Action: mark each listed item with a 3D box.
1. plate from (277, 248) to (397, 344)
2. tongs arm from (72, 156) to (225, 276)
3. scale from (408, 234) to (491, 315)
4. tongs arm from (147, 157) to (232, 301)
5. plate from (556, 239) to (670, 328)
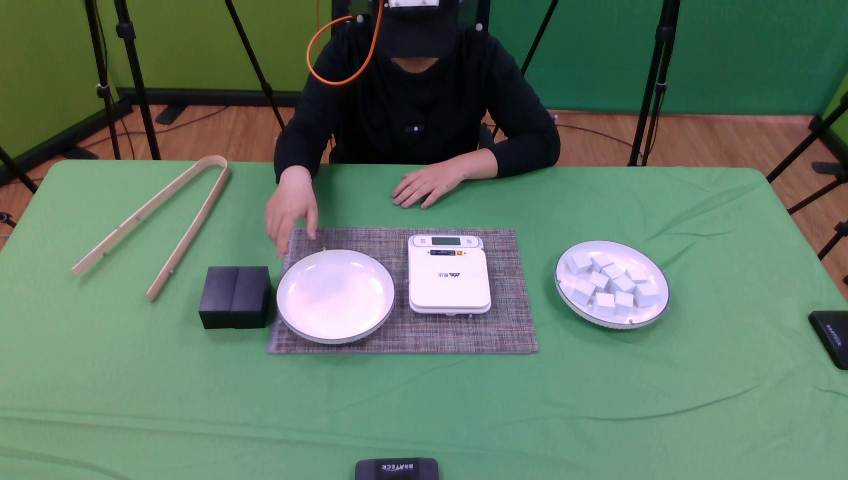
[{"bbox_3d":[-0.152,0.102,1.073,0.208,0.039,0.206,2,46,-2],"label":"plate"},{"bbox_3d":[-0.531,-0.058,1.204,0.050,0.026,0.383,19,47,13],"label":"tongs arm"},{"bbox_3d":[0.045,0.055,1.135,0.149,0.032,0.199,1,46,-3],"label":"scale"},{"bbox_3d":[-0.453,-0.035,1.193,0.028,0.028,0.385,7,46,6],"label":"tongs arm"},{"bbox_3d":[0.347,0.083,1.130,0.209,0.038,0.208,2,47,-2],"label":"plate"}]
